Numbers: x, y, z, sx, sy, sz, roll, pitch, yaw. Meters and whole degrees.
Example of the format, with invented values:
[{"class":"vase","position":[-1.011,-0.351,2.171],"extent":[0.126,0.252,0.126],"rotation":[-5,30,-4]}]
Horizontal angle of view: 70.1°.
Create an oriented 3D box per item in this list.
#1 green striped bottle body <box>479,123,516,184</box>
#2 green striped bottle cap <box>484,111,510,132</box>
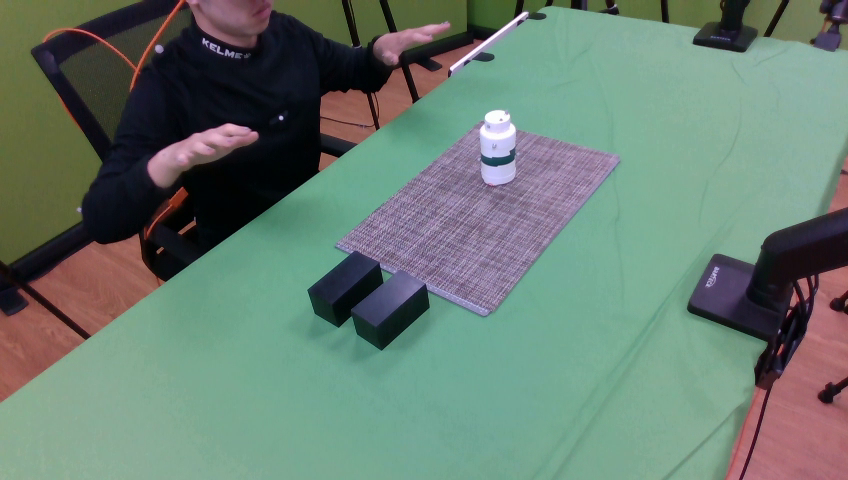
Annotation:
[{"class":"green striped bottle body","position":[0.129,-0.162,1.058],"extent":[0.063,0.120,0.063],"rotation":[-4,41,4]},{"class":"green striped bottle cap","position":[0.123,-0.201,1.024],"extent":[0.044,0.020,0.044],"rotation":[-3,39,3]}]
